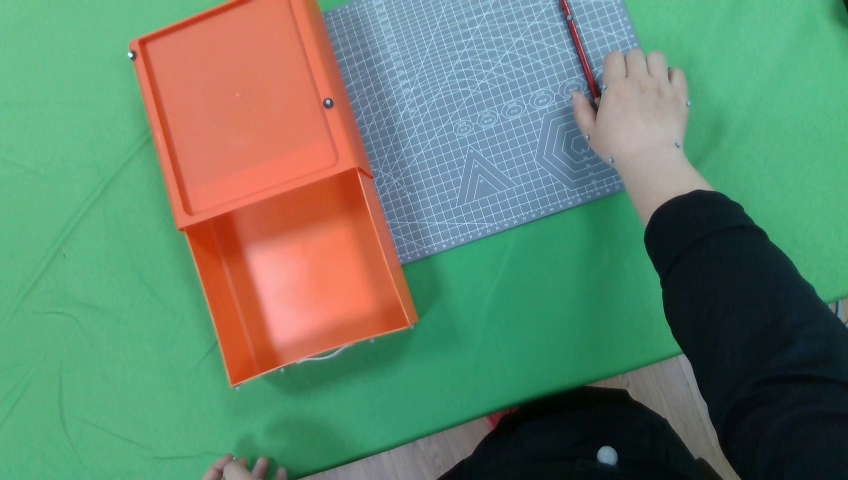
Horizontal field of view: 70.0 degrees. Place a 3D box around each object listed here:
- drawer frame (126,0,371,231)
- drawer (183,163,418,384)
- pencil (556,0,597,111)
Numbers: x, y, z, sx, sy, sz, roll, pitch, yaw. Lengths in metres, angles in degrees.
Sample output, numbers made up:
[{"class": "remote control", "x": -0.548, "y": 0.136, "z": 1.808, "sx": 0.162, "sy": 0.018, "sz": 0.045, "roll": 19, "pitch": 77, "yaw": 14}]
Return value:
[{"class": "drawer frame", "x": -0.185, "y": -0.136, "z": 0.645, "sx": 0.201, "sy": 0.083, "sz": 0.213, "roll": -19, "pitch": 83, "yaw": 7}, {"class": "drawer", "x": -0.132, "y": 0.019, "z": 0.633, "sx": 0.194, "sy": 0.073, "sz": 0.211, "roll": -20, "pitch": 86, "yaw": 8}, {"class": "pencil", "x": 0.151, "y": -0.227, "z": 0.638, "sx": 0.012, "sy": 0.012, "sz": 0.193, "roll": -18, "pitch": 87, "yaw": 7}]
